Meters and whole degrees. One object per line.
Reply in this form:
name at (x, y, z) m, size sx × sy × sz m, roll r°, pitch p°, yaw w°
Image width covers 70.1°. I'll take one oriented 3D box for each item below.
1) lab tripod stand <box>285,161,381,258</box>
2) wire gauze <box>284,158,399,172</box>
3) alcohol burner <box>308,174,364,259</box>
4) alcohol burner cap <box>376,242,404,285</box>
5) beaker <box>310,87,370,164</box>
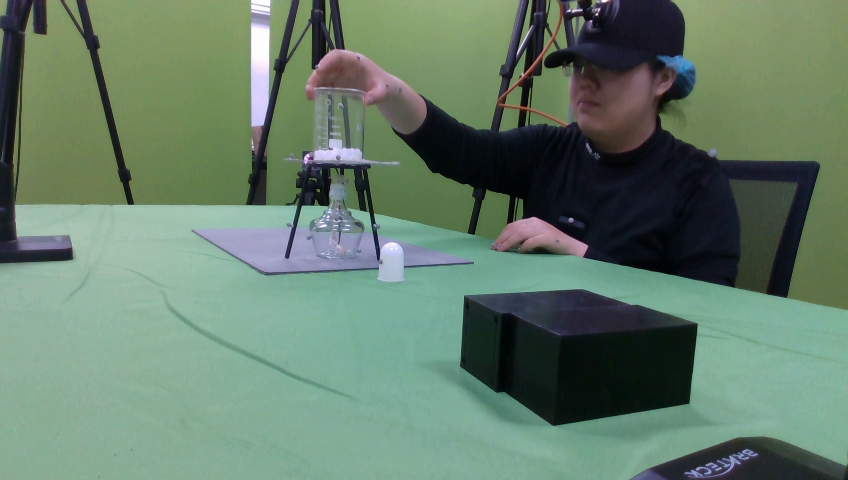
lab tripod stand at (-0.123, -0.043, 0.842) m, size 0.148 × 0.131 × 0.148 m, roll 3°, pitch 9°, yaw 0°
wire gauze at (-0.116, -0.108, 0.835) m, size 0.126 × 0.011 × 0.121 m, roll 0°, pitch 10°, yaw -31°
alcohol burner at (-0.121, -0.033, 0.843) m, size 0.078 × 0.119 × 0.078 m, roll 3°, pitch 5°, yaw 0°
alcohol burner cap at (-0.039, 0.026, 0.709) m, size 0.034 × 0.048 × 0.034 m, roll 3°, pitch 6°, yaw 0°
beaker at (-0.115, -0.156, 0.834) m, size 0.084 × 0.100 × 0.073 m, roll -2°, pitch 10°, yaw -28°
